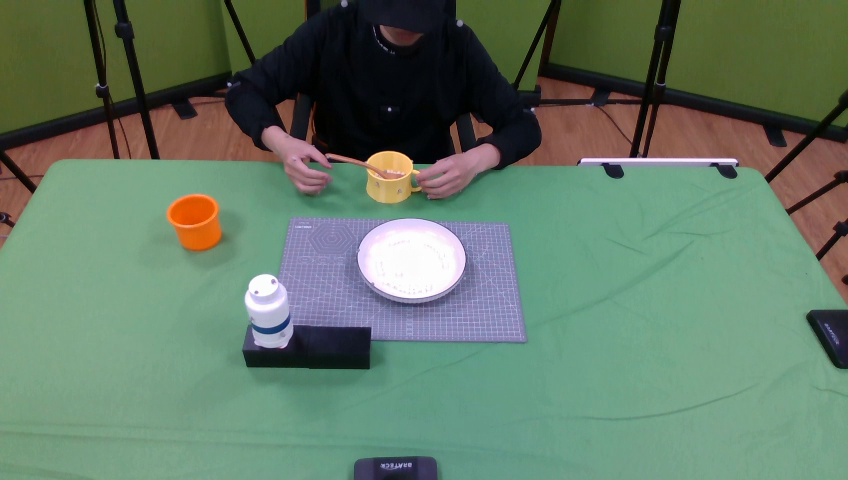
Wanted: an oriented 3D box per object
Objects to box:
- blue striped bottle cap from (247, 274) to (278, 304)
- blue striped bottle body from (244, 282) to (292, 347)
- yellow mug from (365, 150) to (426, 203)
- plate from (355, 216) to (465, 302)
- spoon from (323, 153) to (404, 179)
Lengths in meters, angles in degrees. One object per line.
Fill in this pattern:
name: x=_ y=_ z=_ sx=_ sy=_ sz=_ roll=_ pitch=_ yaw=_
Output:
blue striped bottle cap: x=-0.239 y=0.072 z=0.900 sx=0.044 sy=0.021 sz=0.044 roll=4 pitch=46 yaw=-4
blue striped bottle body: x=-0.241 y=0.108 z=0.937 sx=0.063 sy=0.121 sz=0.062 roll=2 pitch=46 yaw=-2
yellow mug: x=-0.061 y=-0.133 z=1.291 sx=0.131 sy=0.064 sz=0.099 roll=8 pitch=46 yaw=3
plate: x=-0.027 y=0.039 z=1.144 sx=0.208 sy=0.039 sz=0.206 roll=2 pitch=46 yaw=-2
spoon: x=-0.119 y=-0.151 z=1.259 sx=0.195 sy=0.022 sz=0.041 roll=19 pitch=32 yaw=-31
